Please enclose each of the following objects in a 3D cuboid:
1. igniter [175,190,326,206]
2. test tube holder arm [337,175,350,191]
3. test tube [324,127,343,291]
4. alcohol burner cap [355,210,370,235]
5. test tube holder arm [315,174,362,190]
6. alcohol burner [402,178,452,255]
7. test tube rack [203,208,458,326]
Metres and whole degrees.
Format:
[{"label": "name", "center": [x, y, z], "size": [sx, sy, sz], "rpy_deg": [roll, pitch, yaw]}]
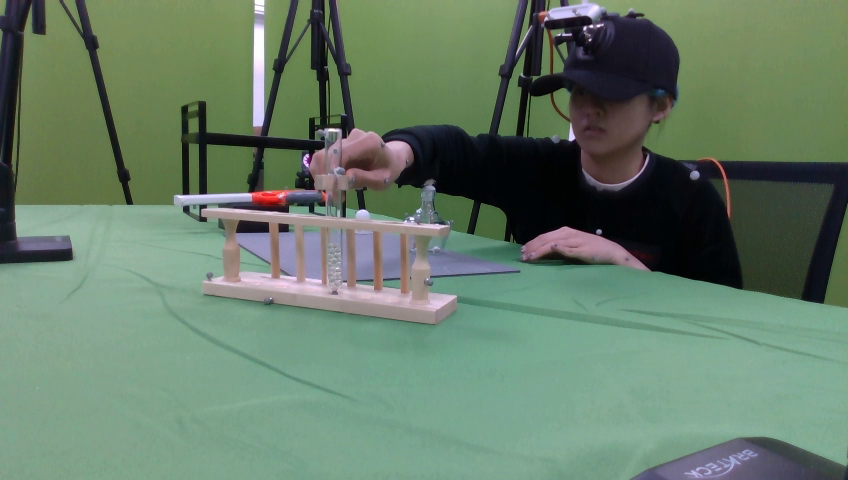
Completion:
[{"label": "igniter", "center": [-0.315, -0.079, 1.128], "size": [0.278, 0.025, 0.057], "rpy_deg": [-5, 13, -34]}, {"label": "test tube holder arm", "center": [-0.078, -0.055, 0.576], "size": [0.010, 0.015, 0.087], "rpy_deg": [2, 6, -10]}, {"label": "test tube", "center": [-0.082, -0.027, 0.551], "size": [0.017, 0.150, 0.017], "rpy_deg": [1, 8, 0]}, {"label": "alcohol burner cap", "center": [-0.117, -0.033, 1.136], "size": [0.034, 0.048, 0.034], "rpy_deg": [2, 7, 0]}, {"label": "test tube holder arm", "center": [-0.084, -0.059, 0.620], "size": [0.013, 0.015, 0.178], "rpy_deg": [5, 5, 3]}, {"label": "alcohol burner", "center": [0.005, -0.036, 0.923], "size": [0.078, 0.119, 0.078], "rpy_deg": [5, 7, 0]}, {"label": "test tube rack", "center": [-0.090, 0.019, 0.579], "size": [0.242, 0.085, 0.067], "rpy_deg": [5, 7, 19]}]
